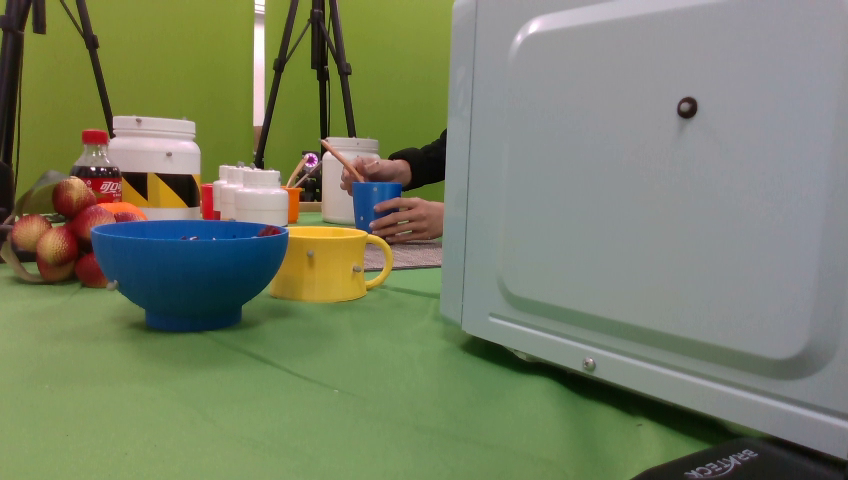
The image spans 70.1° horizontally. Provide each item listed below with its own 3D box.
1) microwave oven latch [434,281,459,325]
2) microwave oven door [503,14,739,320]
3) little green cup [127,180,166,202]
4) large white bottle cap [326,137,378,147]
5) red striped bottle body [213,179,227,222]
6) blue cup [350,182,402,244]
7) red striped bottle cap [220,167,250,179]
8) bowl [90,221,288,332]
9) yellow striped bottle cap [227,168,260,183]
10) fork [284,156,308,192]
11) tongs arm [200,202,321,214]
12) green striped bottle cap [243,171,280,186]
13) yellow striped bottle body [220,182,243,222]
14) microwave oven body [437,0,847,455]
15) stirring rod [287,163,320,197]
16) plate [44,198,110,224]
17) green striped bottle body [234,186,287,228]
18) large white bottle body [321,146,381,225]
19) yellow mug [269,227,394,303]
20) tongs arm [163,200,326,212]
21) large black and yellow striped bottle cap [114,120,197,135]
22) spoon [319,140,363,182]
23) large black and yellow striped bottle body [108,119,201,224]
[{"bbox_3d":[0.044,0.045,0.470,0.079,0.029,0.030,-2,8,-39],"label":"microwave oven latch"},{"bbox_3d":[0.218,-0.065,0.600,0.358,0.243,0.039,-4,10,-41],"label":"microwave oven door"},{"bbox_3d":[-0.485,-0.086,1.061,0.061,0.038,0.061,1,7,0],"label":"little green cup"},{"bbox_3d":[-0.158,-0.214,1.329,0.115,0.018,0.115,2,8,0],"label":"large white bottle cap"},{"bbox_3d":[-0.284,-0.048,0.909,0.063,0.119,0.063,3,12,0],"label":"red striped bottle body"},{"bbox_3d":[-0.080,-0.046,1.011,0.093,0.100,0.092,1,5,0],"label":"blue cup"},{"bbox_3d":[-0.281,-0.100,0.901,0.044,0.017,0.044,-1,5,0],"label":"red striped bottle cap"},{"bbox_3d":[-0.190,0.029,0.500,0.151,0.077,0.151,3,7,0],"label":"bowl"},{"bbox_3d":[-0.243,-0.087,0.818,0.044,0.018,0.044,3,6,0],"label":"yellow striped bottle cap"},{"bbox_3d":[-0.295,-0.116,1.323,0.028,0.019,0.207,1,50,21],"label":"fork"},{"bbox_3d":[-0.380,-0.076,1.420,0.387,0.026,0.050,-4,5,-42],"label":"tongs arm"},{"bbox_3d":[-0.198,-0.074,0.736,0.044,0.020,0.044,1,7,0],"label":"green striped bottle cap"},{"bbox_3d":[-0.246,-0.036,0.825,0.063,0.120,0.063,3,8,0],"label":"yellow striped bottle body"},{"bbox_3d":[0.279,-0.040,0.465,0.444,0.260,0.324,-3,9,-41],"label":"microwave oven body"},{"bbox_3d":[-0.283,-0.107,1.298,0.014,0.006,0.176,10,52,51],"label":"stirring rod"},{"bbox_3d":[-0.617,-0.056,1.179,0.209,0.038,0.209,3,7,0],"label":"plate"},{"bbox_3d":[-0.201,-0.023,0.743,0.063,0.119,0.063,2,7,0],"label":"green striped bottle body"},{"bbox_3d":[-0.162,-0.131,1.340,0.131,0.184,0.130,2,8,0],"label":"large white bottle body"},{"bbox_3d":[-0.094,0.023,0.629,0.131,0.064,0.099,0,7,-22],"label":"yellow mug"},{"bbox_3d":[-0.433,-0.083,1.490,0.389,0.027,0.028,-1,0,-27],"label":"tongs arm"},{"bbox_3d":[-0.407,-0.171,0.920,0.115,0.019,0.115,2,9,0],"label":"large black and yellow striped bottle cap"},{"bbox_3d":[-0.116,-0.106,1.029,0.193,0.021,0.042,51,29,14],"label":"spoon"},{"bbox_3d":[-0.412,-0.088,0.930,0.131,0.184,0.130,3,7,0],"label":"large black and yellow striped bottle body"}]
